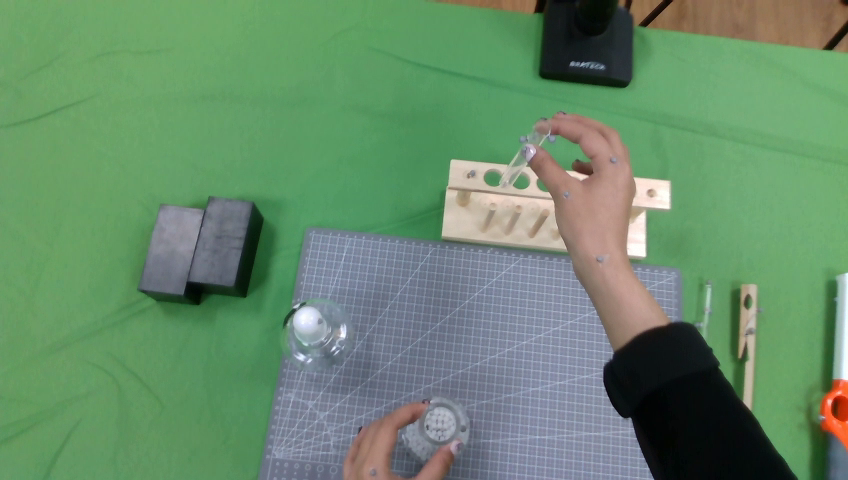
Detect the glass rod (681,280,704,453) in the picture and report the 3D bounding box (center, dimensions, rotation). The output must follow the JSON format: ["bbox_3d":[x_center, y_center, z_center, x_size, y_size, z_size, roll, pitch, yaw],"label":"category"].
[{"bbox_3d":[0.307,0.140,0.690,0.008,0.008,0.198,13,74,2],"label":"glass rod"}]

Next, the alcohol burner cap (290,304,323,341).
[{"bbox_3d":[-0.117,0.079,0.598,0.034,0.048,0.033,2,68,-6],"label":"alcohol burner cap"}]

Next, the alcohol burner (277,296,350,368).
[{"bbox_3d":[-0.118,0.092,0.632,0.078,0.120,0.077,0,71,0],"label":"alcohol burner"}]

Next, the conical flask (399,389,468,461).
[{"bbox_3d":[0.011,0.182,0.603,0.075,0.122,0.075,1,72,-2],"label":"conical flask"}]

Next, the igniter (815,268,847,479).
[{"bbox_3d":[0.467,0.164,0.678,0.057,0.025,0.275,17,72,-7],"label":"igniter"}]

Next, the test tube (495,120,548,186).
[{"bbox_3d":[0.088,-0.077,0.566,0.017,0.150,0.017,1,79,-5],"label":"test tube"}]

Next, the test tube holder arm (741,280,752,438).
[{"bbox_3d":[0.365,0.132,0.688,0.013,0.015,0.177,-5,67,35],"label":"test tube holder arm"}]

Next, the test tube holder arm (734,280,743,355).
[{"bbox_3d":[0.367,0.090,0.705,0.010,0.015,0.087,-4,68,35],"label":"test tube holder arm"}]

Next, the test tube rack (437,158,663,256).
[{"bbox_3d":[0.140,-0.036,0.701,0.242,0.085,0.066,6,72,0],"label":"test tube rack"}]
